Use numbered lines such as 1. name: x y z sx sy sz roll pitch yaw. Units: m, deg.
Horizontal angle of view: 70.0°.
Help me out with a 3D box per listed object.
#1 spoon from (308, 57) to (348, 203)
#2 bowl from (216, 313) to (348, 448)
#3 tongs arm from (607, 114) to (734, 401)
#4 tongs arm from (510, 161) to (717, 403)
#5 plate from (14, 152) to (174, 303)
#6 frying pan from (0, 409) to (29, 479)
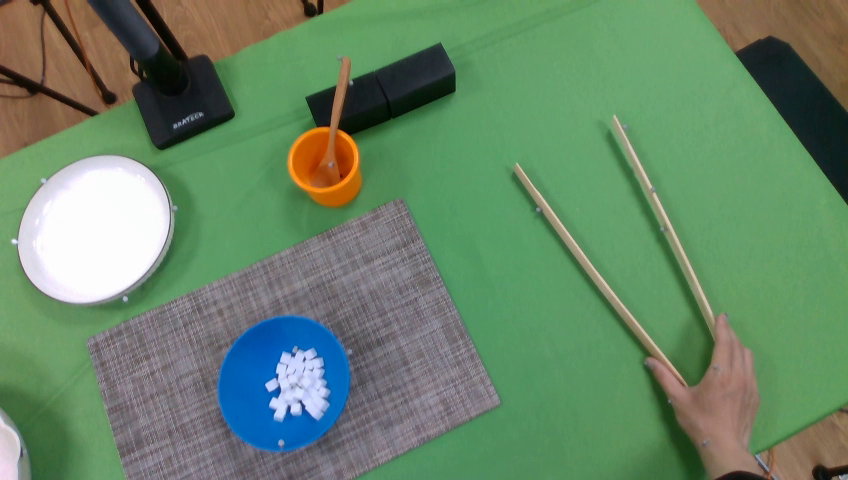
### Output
1. spoon: -0.119 -0.137 0.777 0.041 0.195 0.021 23 31 13
2. bowl: -0.159 0.168 0.719 0.151 0.077 0.150 -1 73 2
3. tongs arm: 0.300 0.013 0.772 0.051 0.026 0.382 -21 75 -2
4. tongs arm: 0.228 0.048 0.769 0.028 0.028 0.385 -33 75 -9
5. plate: -0.434 -0.016 0.812 0.207 0.039 0.206 -1 73 3
6. frying pan: -0.553 0.387 0.661 0.307 0.103 0.483 -27 65 -5
